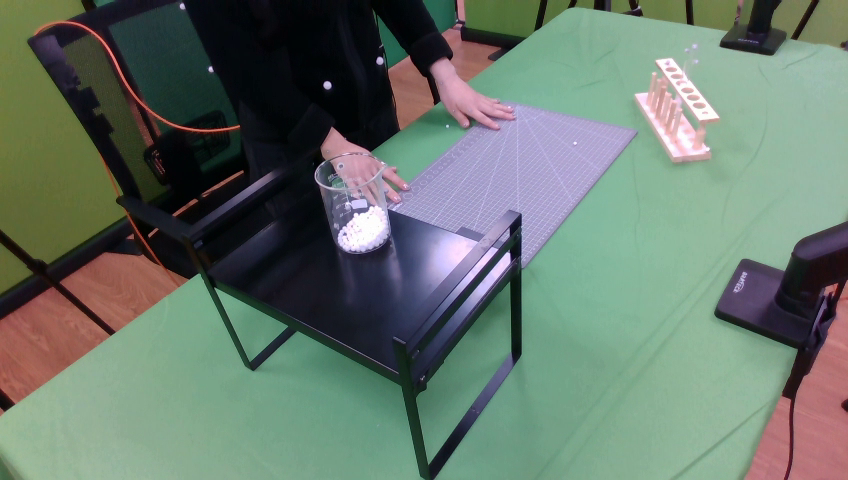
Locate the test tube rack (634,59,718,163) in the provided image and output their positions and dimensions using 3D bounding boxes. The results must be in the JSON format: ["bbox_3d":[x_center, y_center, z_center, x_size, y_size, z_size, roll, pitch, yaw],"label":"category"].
[{"bbox_3d":[0.470,-0.250,1.148,0.067,0.085,0.241,-6,40,3],"label":"test tube rack"}]

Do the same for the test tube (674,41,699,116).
[{"bbox_3d":[0.483,-0.297,1.123,0.017,0.151,0.017,-2,45,2],"label":"test tube"}]

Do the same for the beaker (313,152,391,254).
[{"bbox_3d":[-0.076,-0.041,0.697,0.084,0.101,0.073,-15,41,-10],"label":"beaker"}]
